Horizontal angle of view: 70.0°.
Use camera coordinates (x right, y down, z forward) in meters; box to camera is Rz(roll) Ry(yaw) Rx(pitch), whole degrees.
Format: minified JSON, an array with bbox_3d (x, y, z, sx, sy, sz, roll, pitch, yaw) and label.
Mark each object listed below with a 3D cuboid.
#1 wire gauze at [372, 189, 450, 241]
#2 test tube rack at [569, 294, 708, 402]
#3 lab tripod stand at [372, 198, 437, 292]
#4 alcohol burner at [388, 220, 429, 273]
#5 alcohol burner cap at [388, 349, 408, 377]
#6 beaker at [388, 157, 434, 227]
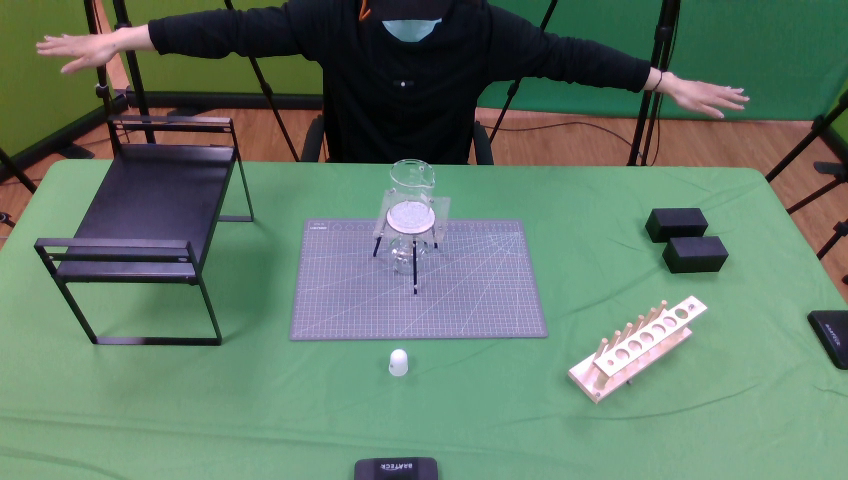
[{"bbox_3d":[-0.020,-0.043,1.061,0.121,0.011,0.124,9,42,2],"label":"wire gauze"},{"bbox_3d":[0.360,0.167,1.014,0.242,0.085,0.066,-25,53,-25],"label":"test tube rack"},{"bbox_3d":[-0.025,-0.002,1.112,0.148,0.132,0.147,2,44,-2],"label":"lab tripod stand"},{"bbox_3d":[-0.028,0.006,1.118,0.078,0.119,0.077,2,48,-2],"label":"alcohol burner"},{"bbox_3d":[-0.042,0.197,0.989,0.034,0.048,0.033,3,45,-2],"label":"alcohol burner cap"},{"bbox_3d":[-0.021,-0.077,1.026,0.083,0.101,0.074,30,50,22],"label":"beaker"}]
